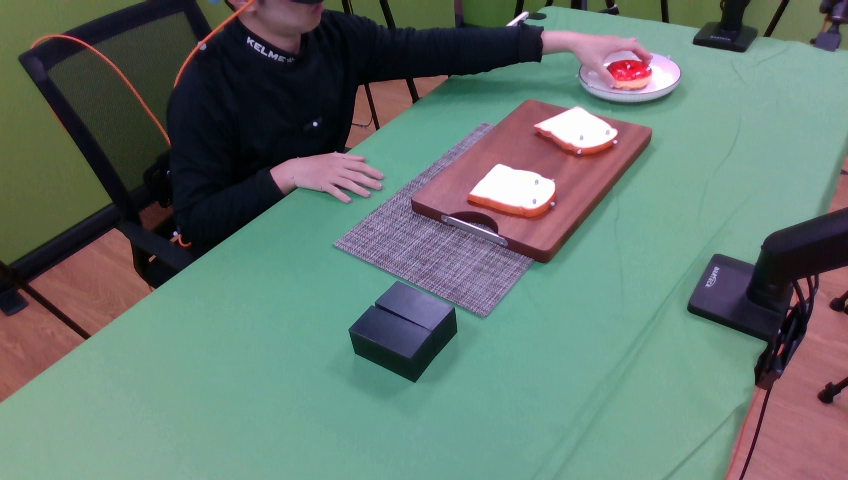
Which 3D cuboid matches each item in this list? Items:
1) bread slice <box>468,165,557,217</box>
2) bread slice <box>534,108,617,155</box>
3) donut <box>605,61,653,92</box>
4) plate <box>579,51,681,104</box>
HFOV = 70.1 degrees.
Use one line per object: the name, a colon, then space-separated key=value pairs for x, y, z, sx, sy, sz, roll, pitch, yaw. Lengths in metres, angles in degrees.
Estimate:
bread slice: x=0.154 y=-0.083 z=1.004 sx=0.130 sy=0.019 sz=0.105 roll=19 pitch=48 yaw=29
bread slice: x=0.289 y=-0.201 z=1.120 sx=0.107 sy=0.018 sz=0.133 roll=-27 pitch=43 yaw=-21
donut: x=0.436 y=-0.349 z=1.285 sx=0.099 sy=0.048 sz=0.098 roll=-5 pitch=37 yaw=5
plate: x=0.437 y=-0.343 z=1.294 sx=0.209 sy=0.038 sz=0.208 roll=-4 pitch=40 yaw=4
